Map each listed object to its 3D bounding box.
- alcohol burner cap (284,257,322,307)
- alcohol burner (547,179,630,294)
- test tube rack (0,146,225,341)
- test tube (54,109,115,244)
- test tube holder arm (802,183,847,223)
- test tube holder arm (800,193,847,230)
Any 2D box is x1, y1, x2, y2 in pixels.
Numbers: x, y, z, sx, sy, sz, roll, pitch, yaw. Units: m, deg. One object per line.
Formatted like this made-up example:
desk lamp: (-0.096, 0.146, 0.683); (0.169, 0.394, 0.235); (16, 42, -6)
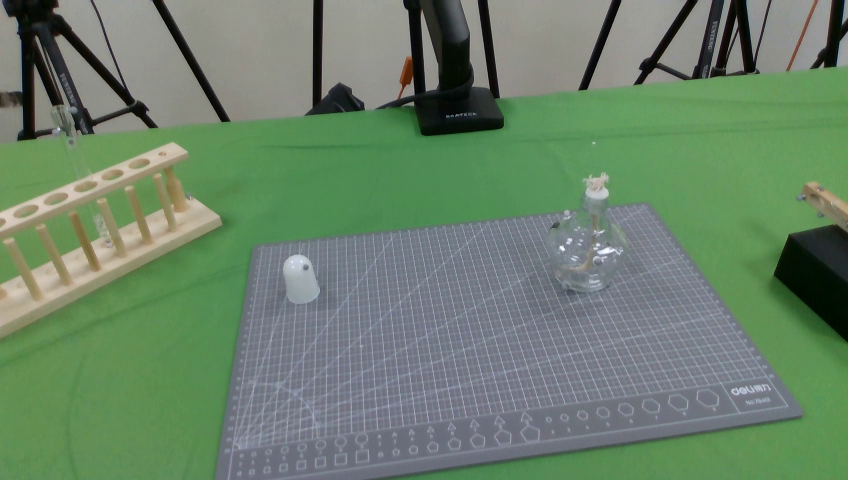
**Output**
alcohol burner cap: (-0.119, 0.037, 0.587); (0.034, 0.048, 0.033); (-2, 38, 2)
alcohol burner: (0.156, -0.008, 0.569); (0.078, 0.120, 0.077); (-1, 40, 1)
test tube rack: (-0.339, -0.005, 0.626); (0.066, 0.086, 0.242); (29, 48, 35)
test tube: (-0.342, -0.060, 0.617); (0.017, 0.151, 0.017); (-1, 34, 1)
test tube holder arm: (0.397, -0.029, 0.574); (0.015, 0.010, 0.087); (-10, 37, -11)
test tube holder arm: (0.408, 0.001, 0.542); (0.015, 0.013, 0.176); (-10, 37, -10)
